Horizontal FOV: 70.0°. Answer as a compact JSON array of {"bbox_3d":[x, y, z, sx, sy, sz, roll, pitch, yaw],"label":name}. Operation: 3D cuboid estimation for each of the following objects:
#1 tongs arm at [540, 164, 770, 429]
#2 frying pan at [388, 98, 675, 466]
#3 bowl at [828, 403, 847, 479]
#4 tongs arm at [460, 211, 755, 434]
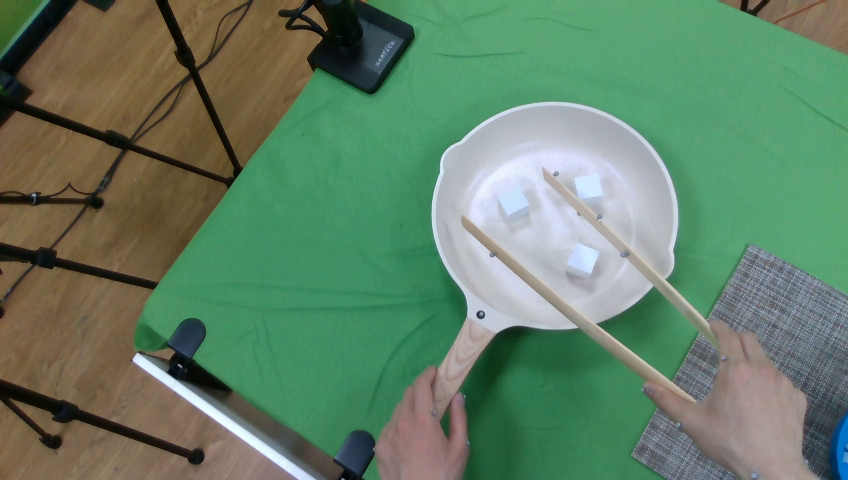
[{"bbox_3d":[0.221,0.035,0.654,0.051,0.027,0.380,-28,49,-11],"label":"tongs arm"},{"bbox_3d":[0.098,0.047,0.723,0.305,0.103,0.486,30,71,15],"label":"frying pan"},{"bbox_3d":[0.492,0.228,0.633,0.151,0.077,0.150,-2,73,6],"label":"bowl"},{"bbox_3d":[0.163,0.070,0.641,0.028,0.028,0.383,-33,49,-19],"label":"tongs arm"}]
